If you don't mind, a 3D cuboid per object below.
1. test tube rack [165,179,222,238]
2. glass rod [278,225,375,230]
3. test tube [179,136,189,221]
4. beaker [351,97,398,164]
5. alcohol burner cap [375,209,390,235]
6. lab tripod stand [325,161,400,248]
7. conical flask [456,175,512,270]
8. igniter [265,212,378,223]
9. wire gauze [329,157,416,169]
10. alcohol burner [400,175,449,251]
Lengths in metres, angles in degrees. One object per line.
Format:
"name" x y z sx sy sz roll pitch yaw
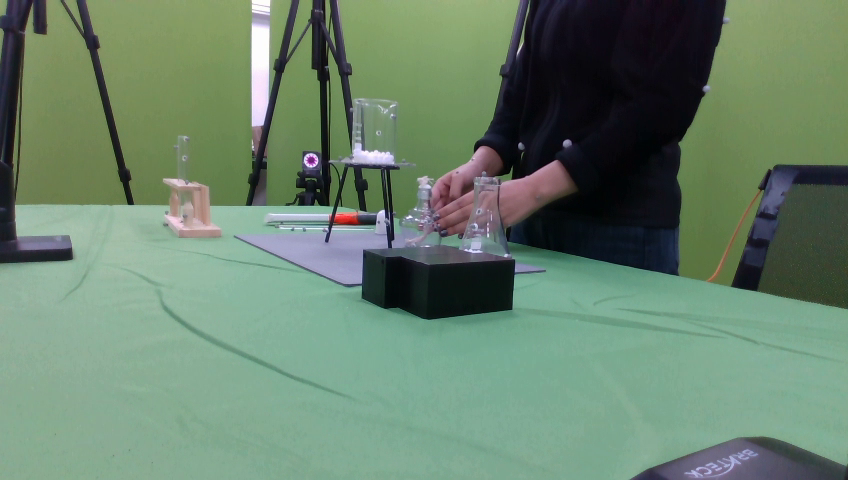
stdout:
"test tube rack" -0.423 -0.062 1.098 0.067 0.085 0.241 -2 9 -28
"glass rod" -0.186 -0.024 1.178 0.201 0.008 0.008 1 7 -31
"test tube" -0.425 -0.108 1.070 0.017 0.150 0.017 4 9 0
"beaker" -0.078 -0.172 0.962 0.074 0.100 0.084 6 8 19
"alcohol burner cap" -0.076 -0.035 1.145 0.034 0.048 0.034 1 7 0
"lab tripod stand" -0.083 -0.060 0.977 0.148 0.131 0.148 4 8 0
"conical flask" 0.083 -0.025 0.801 0.075 0.122 0.075 2 7 0
"igniter" -0.195 -0.048 1.285 0.278 0.025 0.057 -2 -2 -30
"wire gauze" -0.079 -0.125 0.972 0.121 0.011 0.125 6 6 5
"alcohol burner" 0.002 -0.043 0.951 0.078 0.119 0.078 3 9 0
